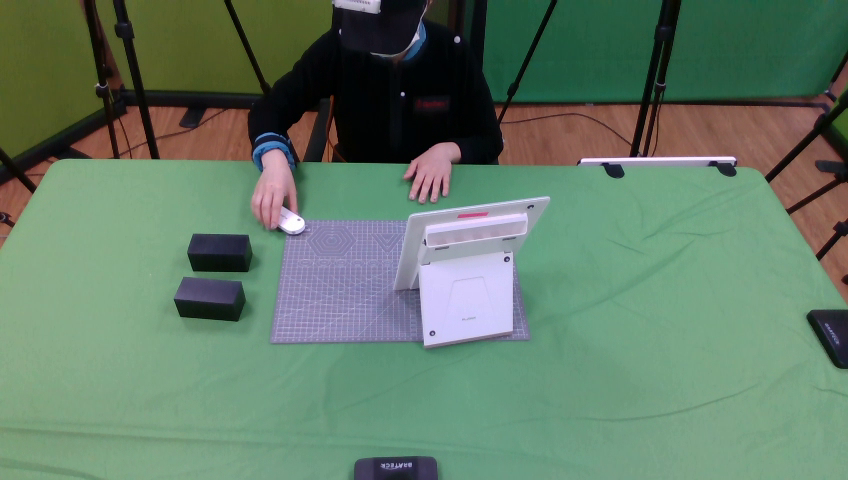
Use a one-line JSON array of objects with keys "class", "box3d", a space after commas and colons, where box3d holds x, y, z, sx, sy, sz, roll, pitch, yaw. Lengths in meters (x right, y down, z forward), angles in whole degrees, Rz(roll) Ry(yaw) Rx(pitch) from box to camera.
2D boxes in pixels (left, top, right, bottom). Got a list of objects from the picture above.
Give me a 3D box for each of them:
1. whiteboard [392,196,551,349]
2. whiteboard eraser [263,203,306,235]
[{"class": "whiteboard", "box3d": [0.077, 0.071, 0.977, 0.217, 0.306, 0.143, -7, 67, -11]}, {"class": "whiteboard eraser", "box3d": [-0.281, -0.043, 1.216, 0.101, 0.019, 0.041, 31, 52, 26]}]
